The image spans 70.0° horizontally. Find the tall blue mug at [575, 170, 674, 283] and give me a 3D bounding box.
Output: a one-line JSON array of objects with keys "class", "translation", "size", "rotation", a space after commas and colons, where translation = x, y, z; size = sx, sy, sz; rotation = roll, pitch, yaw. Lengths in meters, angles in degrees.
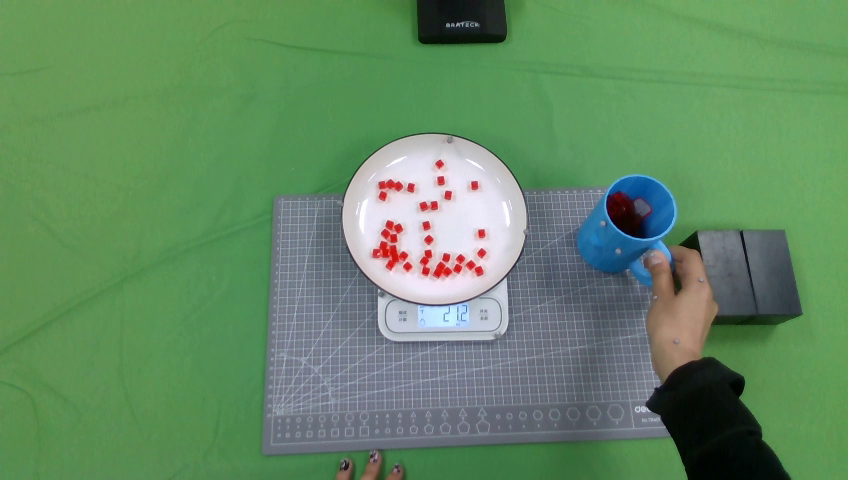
[{"class": "tall blue mug", "translation": [0.234, -0.011, 0.678], "size": [0.107, 0.108, 0.077], "rotation": [33, 73, 9]}]

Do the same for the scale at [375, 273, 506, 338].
[{"class": "scale", "translation": [0.018, 0.012, 0.705], "size": [0.149, 0.032, 0.199], "rotation": [0, 72, -2]}]

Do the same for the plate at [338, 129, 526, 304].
[{"class": "plate", "translation": [0.010, -0.026, 0.682], "size": [0.209, 0.038, 0.207], "rotation": [1, 71, -3]}]
